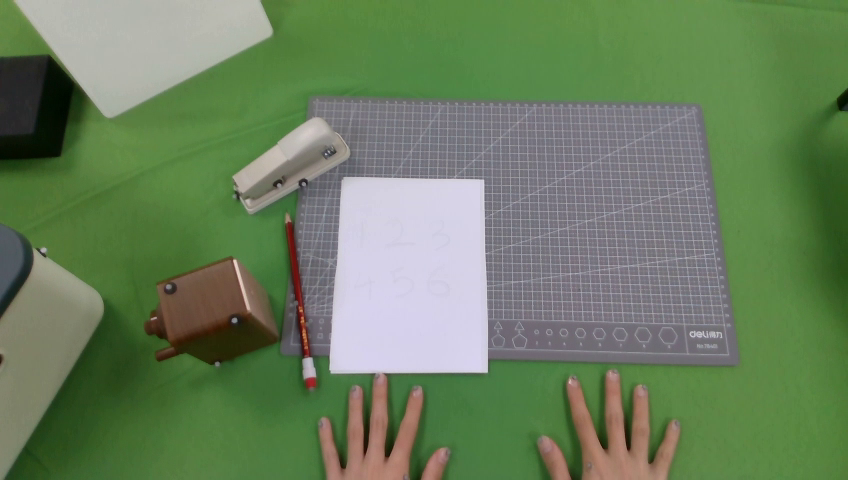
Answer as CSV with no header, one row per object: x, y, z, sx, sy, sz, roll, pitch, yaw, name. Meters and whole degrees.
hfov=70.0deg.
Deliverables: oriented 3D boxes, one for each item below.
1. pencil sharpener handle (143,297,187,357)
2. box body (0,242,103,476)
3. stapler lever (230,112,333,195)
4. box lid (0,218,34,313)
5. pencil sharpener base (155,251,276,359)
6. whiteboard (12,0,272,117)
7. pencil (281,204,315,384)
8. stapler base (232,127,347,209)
-0.236,0.081,0.537,0.031,0.068,0.035,-20,50,-7,pencil sharpener handle
-0.514,0.070,0.524,0.363,0.161,0.253,21,72,7,box body
-0.149,-0.092,0.631,0.118,0.040,0.026,-32,69,-8,stapler lever
-0.516,0.043,0.454,0.371,0.015,0.262,22,71,6,box lid
-0.190,0.064,0.558,0.077,0.107,0.061,-20,71,-7,pencil sharpener base
-0.334,-0.328,0.626,0.217,0.308,0.142,-31,53,-10,whiteboard
-0.130,0.050,0.613,0.012,0.012,0.192,-12,70,-4,pencil
-0.146,-0.084,0.654,0.130,0.024,0.041,-33,69,-8,stapler base
